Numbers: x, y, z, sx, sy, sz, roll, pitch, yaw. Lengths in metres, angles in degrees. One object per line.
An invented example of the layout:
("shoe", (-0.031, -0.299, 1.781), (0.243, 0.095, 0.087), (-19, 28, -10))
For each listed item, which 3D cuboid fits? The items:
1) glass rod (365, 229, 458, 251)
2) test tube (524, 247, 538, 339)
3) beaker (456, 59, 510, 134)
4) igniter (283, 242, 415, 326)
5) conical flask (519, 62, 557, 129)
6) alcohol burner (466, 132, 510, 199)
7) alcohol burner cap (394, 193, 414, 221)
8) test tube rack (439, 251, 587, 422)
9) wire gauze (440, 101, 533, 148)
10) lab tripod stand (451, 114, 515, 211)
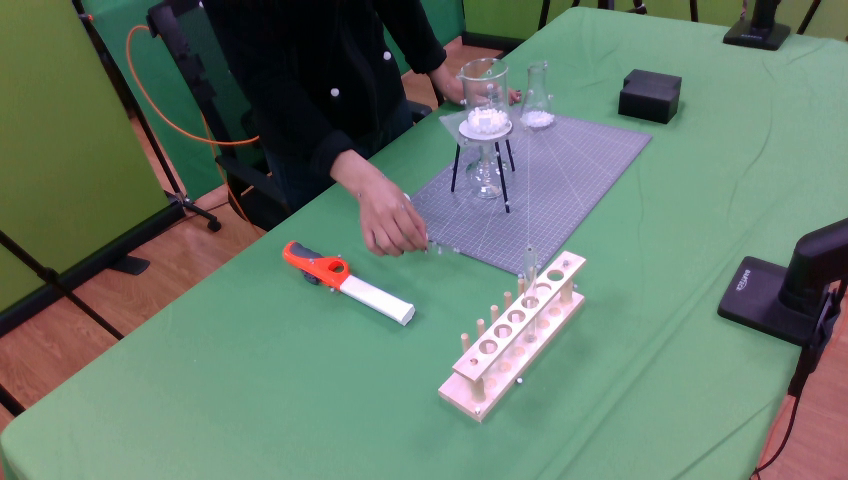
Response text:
("glass rod", (-0.025, 0.000, 0.931), (0.198, 0.008, 0.008), (11, 43, 42))
("test tube", (0.133, 0.070, 0.749), (0.017, 0.151, 0.017), (-5, 38, 4))
("beaker", (0.097, -0.226, 0.964), (0.084, 0.101, 0.073), (-8, 39, 3))
("igniter", (-0.126, 0.062, 0.931), (0.274, 0.025, 0.057), (24, 61, 33))
("conical flask", (0.225, -0.287, 1.198), (0.075, 0.122, 0.075), (-6, 40, 5))
("alcohol burner", (0.110, -0.132, 1.044), (0.078, 0.119, 0.077), (-5, 38, 5))
("alcohol burner cap", (-0.036, -0.059, 1.040), (0.034, 0.048, 0.033), (-5, 41, 5))
("test tube rack", (0.118, 0.111, 0.780), (0.066, 0.085, 0.243), (26, 51, 35))
("wire gauze", (0.100, -0.189, 0.995), (0.125, 0.011, 0.120), (-16, 37, -6))
("lab tripod stand", (0.113, -0.140, 1.037), (0.148, 0.132, 0.147), (-6, 38, 5))
